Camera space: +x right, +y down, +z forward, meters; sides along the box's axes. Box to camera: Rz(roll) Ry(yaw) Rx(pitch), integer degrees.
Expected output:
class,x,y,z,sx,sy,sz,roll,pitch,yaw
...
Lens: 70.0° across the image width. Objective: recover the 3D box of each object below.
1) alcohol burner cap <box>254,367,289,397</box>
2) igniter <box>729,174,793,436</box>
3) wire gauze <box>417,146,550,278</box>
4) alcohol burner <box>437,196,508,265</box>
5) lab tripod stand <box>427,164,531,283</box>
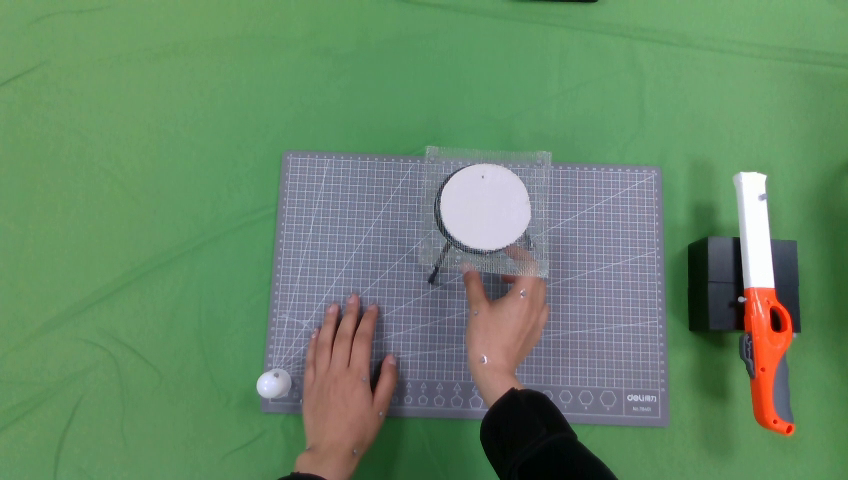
class,x,y,z,sx,sy,sz,roll,pitch,yaw
alcohol burner cap,-0.165,0.153,0.647,0.034,0.048,0.033,1,78,-3
igniter,0.354,0.064,0.641,0.057,0.025,0.275,2,77,-5
wire gauze,0.057,-0.029,0.572,0.125,0.011,0.121,5,79,0
alcohol burner,0.053,-0.014,0.648,0.078,0.119,0.077,0,79,0
lab tripod stand,0.050,-0.021,0.639,0.148,0.132,0.147,0,79,1
